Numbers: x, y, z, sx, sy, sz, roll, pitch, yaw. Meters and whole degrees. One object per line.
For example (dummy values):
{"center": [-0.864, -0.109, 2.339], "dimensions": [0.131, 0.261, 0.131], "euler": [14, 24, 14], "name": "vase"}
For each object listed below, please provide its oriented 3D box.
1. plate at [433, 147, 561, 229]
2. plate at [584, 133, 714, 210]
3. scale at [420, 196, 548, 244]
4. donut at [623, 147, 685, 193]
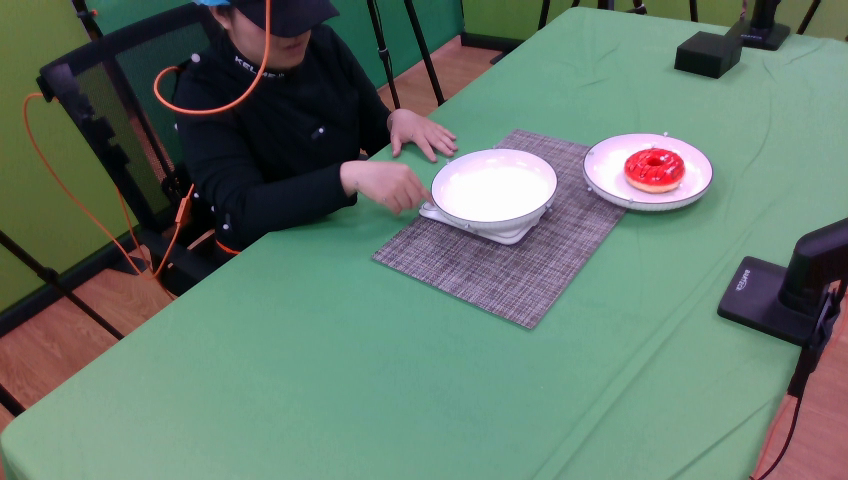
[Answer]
{"center": [0.120, -0.082, 0.996], "dimensions": [0.207, 0.039, 0.206], "euler": [-6, 40, 5], "name": "plate"}
{"center": [0.379, -0.113, 1.030], "dimensions": [0.209, 0.038, 0.208], "euler": [-4, 41, 4], "name": "plate"}
{"center": [0.106, -0.064, 1.029], "dimensions": [0.199, 0.032, 0.149], "euler": [21, 48, 32], "name": "scale"}
{"center": [0.388, -0.119, 1.019], "dimensions": [0.099, 0.048, 0.098], "euler": [-4, 42, 5], "name": "donut"}
